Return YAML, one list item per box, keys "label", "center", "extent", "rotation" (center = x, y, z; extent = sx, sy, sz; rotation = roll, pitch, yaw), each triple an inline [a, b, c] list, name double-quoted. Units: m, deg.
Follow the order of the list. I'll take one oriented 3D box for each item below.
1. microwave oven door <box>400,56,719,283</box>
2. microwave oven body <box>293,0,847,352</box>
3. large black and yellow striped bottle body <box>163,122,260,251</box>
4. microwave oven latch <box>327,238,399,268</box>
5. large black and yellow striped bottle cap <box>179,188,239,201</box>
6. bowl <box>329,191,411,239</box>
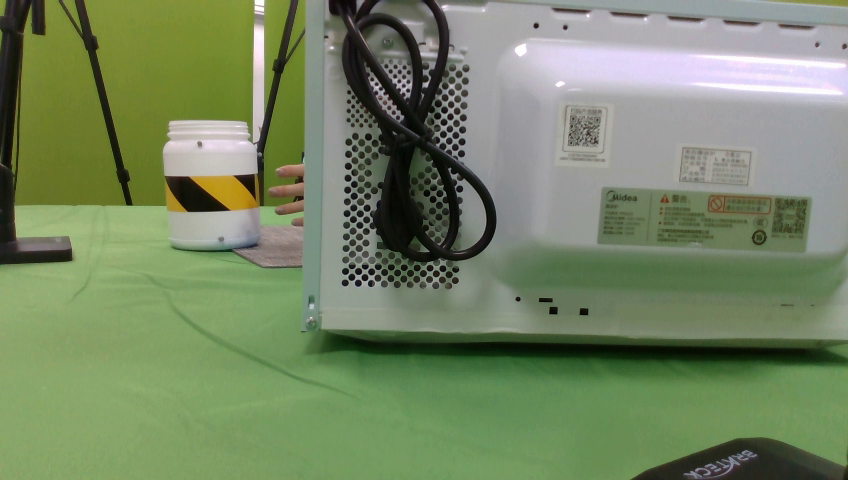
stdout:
- label: "microwave oven door"
  center: [0.155, -0.077, 0.698]
  extent: [0.356, 0.243, 0.039]
  rotation: [2, 8, -5]
- label: "microwave oven body"
  center: [0.122, -0.055, 0.550]
  extent: [0.442, 0.260, 0.325]
  rotation: [3, 7, -5]
- label: "large black and yellow striped bottle body"
  center: [-0.317, -0.083, 0.907]
  extent: [0.131, 0.184, 0.130]
  rotation: [0, 9, 0]
- label: "microwave oven latch"
  center: [-0.069, 0.015, 0.694]
  extent: [0.079, 0.029, 0.030]
  rotation: [3, 7, -3]
- label: "large black and yellow striped bottle cap"
  center: [-0.434, -0.093, 1.226]
  extent: [0.115, 0.019, 0.115]
  rotation: [3, 9, 0]
- label: "bowl"
  center: [-0.099, -0.046, 1.104]
  extent: [0.151, 0.077, 0.151]
  rotation: [3, 8, 0]
